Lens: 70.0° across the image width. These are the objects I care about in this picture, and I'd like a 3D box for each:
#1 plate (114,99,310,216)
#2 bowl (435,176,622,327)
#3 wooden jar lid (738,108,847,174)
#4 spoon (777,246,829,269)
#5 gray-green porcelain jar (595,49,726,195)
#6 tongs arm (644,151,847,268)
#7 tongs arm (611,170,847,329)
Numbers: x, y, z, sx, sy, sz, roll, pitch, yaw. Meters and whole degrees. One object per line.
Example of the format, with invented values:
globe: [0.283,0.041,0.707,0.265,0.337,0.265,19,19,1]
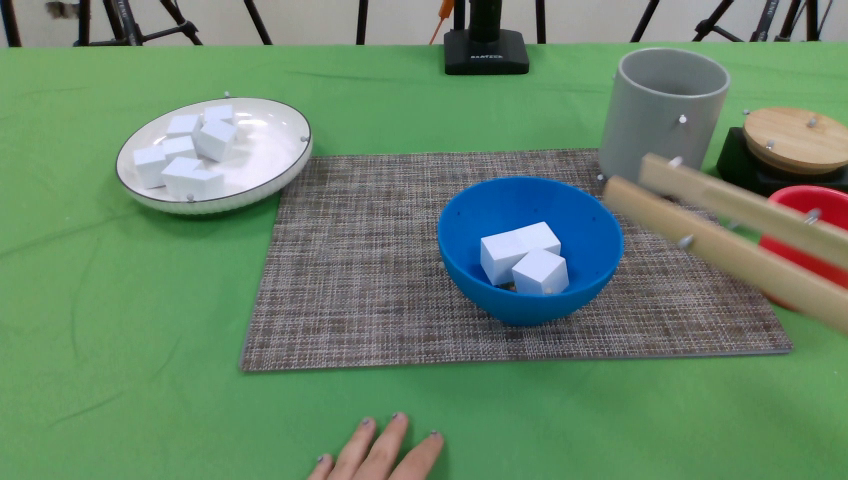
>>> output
plate: [-0.229,-0.091,0.673,0.209,0.038,0.207,-1,42,1]
bowl: [0.084,0.021,0.515,0.151,0.077,0.150,0,42,0]
wooden jar lid: [0.379,-0.101,0.621,0.108,0.021,0.107,-1,42,1]
spoon: [0.372,-0.006,0.498,0.022,0.193,0.041,43,41,-21]
gray-green porcelain jar: [0.238,-0.116,0.628,0.106,0.127,0.105,0,42,1]
tongs arm: [0.286,0.038,0.338,0.381,0.027,0.051,32,48,33]
tongs arm: [0.265,0.049,0.324,0.028,0.028,0.383,-27,46,-34]
